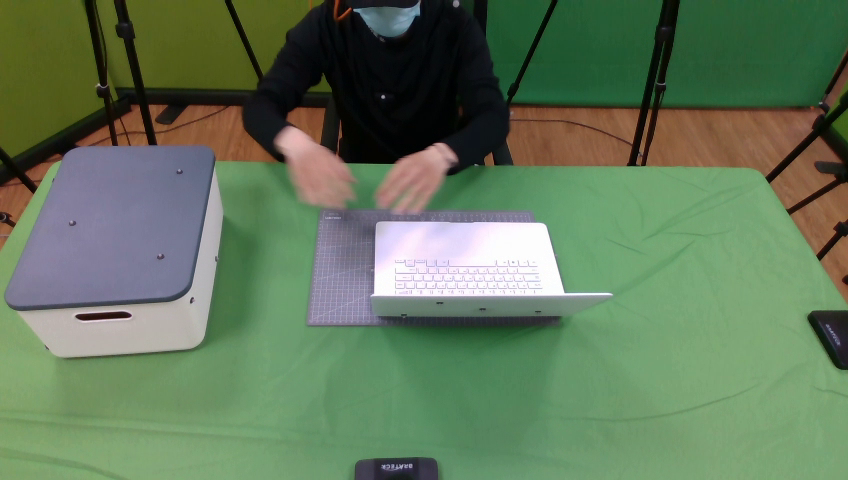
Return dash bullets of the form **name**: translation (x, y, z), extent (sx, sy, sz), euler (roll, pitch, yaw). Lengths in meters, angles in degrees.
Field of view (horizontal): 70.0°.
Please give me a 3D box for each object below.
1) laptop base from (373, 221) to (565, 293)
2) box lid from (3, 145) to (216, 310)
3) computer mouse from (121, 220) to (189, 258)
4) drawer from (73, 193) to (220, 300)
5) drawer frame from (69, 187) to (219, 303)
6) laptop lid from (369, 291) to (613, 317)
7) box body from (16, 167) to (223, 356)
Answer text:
- **laptop base**: translation (0.080, 0.049, 1.159), extent (0.355, 0.023, 0.234), euler (0, 43, -4)
- **box lid**: translation (-0.495, -0.040, 0.998), extent (0.263, 0.015, 0.369), euler (-2, 47, -8)
- **computer mouse**: translation (-0.511, -0.003, 1.152), extent (0.117, 0.041, 0.062), euler (12, 42, -3)
- **drawer**: translation (-0.494, 0.009, 1.103), extent (0.195, 0.073, 0.210), euler (2, 45, -6)
- **drawer frame**: translation (-0.496, 0.004, 1.099), extent (0.202, 0.083, 0.212), euler (-2, 50, -4)
- **laptop lid**: translation (0.092, 0.104, 0.965), extent (0.357, 0.242, 0.013), euler (0, 76, -5)
- **box body**: translation (-0.499, 0.012, 1.051), extent (0.254, 0.161, 0.361), euler (-3, 47, -7)
